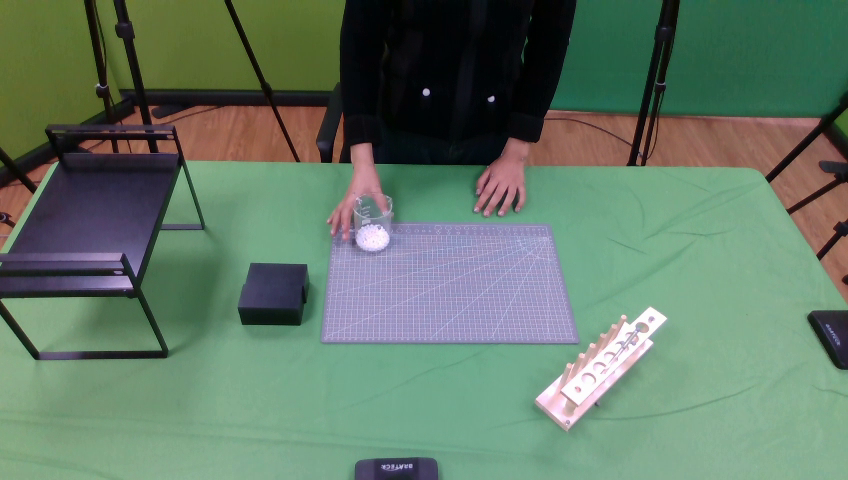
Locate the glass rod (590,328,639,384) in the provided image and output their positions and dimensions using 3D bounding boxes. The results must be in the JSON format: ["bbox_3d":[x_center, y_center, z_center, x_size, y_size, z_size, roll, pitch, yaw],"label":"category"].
[{"bbox_3d":[0.279,0.182,0.902,0.008,0.200,0.008,5,52,-6],"label":"glass rod"}]

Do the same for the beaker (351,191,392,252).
[{"bbox_3d":[-0.097,-0.034,1.162,0.084,0.101,0.073,-29,55,-28],"label":"beaker"}]

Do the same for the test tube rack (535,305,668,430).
[{"bbox_3d":[0.290,0.193,0.984,0.242,0.085,0.066,-32,57,-30],"label":"test tube rack"}]
